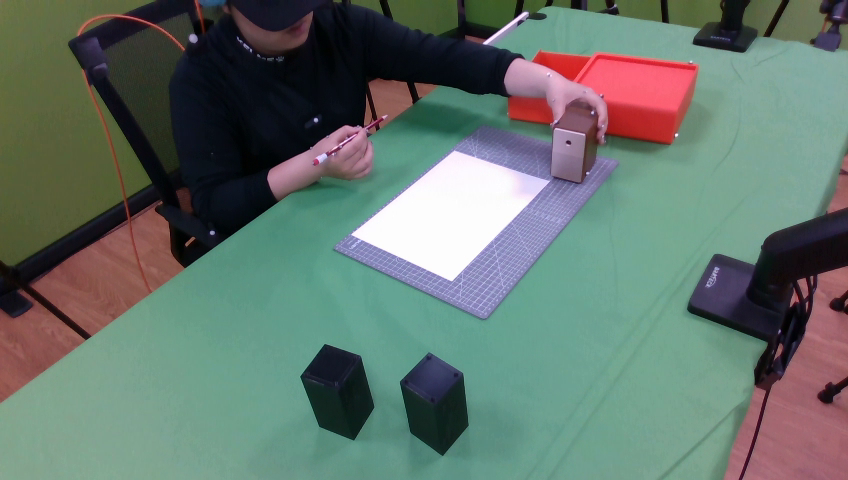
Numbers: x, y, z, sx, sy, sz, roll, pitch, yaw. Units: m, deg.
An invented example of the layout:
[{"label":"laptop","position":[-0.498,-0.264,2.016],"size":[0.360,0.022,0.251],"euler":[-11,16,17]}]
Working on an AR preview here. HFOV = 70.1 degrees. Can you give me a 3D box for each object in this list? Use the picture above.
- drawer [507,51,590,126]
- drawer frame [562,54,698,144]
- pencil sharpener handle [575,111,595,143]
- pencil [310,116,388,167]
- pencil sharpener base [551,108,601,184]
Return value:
[{"label":"drawer","position":[0.303,-0.309,1.247],"size":[0.210,0.073,0.195],"euler":[15,44,24]},{"label":"drawer frame","position":[0.406,-0.284,1.197],"size":[0.212,0.083,0.202],"euler":[16,45,24]},{"label":"pencil sharpener handle","position":[0.287,-0.205,1.070],"size":[0.036,0.068,0.031],"euler":[20,50,23]},{"label":"pencil","position":[-0.127,-0.177,1.063],"size":[0.012,0.012,0.194],"euler":[24,49,32]},{"label":"pencil sharpener base","position":[0.263,-0.164,1.048],"size":[0.061,0.107,0.077],"euler":[18,49,25]}]
